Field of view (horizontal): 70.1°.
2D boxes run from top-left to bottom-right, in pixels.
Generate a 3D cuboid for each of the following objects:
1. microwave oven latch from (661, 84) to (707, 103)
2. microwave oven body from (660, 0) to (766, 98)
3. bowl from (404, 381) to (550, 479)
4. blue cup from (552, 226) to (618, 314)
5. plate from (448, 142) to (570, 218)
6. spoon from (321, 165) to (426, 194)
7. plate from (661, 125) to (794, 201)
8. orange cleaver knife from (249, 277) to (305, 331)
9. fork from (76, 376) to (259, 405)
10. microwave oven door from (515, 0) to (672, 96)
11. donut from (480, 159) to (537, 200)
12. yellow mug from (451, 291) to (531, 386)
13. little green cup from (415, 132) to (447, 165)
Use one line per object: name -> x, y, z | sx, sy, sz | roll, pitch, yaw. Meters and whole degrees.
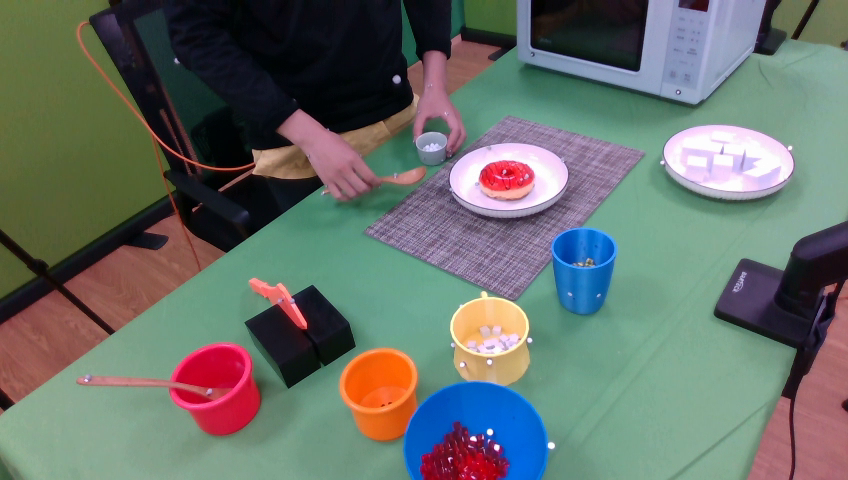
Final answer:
microwave oven latch -> 0.517, -0.296, 1.204 | 0.078, 0.029, 0.030 | 26, 52, 34
microwave oven body -> 0.473, -0.513, 1.317 | 0.438, 0.261, 0.327 | 26, 51, 34
bowl -> 0.058, 0.235, 0.645 | 0.151, 0.077, 0.150 | -4, 39, 4
blue cup -> 0.218, 0.047, 0.826 | 0.092, 0.100, 0.092 | -6, 40, 5
plate -> 0.148, -0.101, 1.053 | 0.209, 0.038, 0.208 | -4, 40, 4
spoon -> -0.089, -0.105, 1.056 | 0.193, 0.022, 0.041 | -7, 46, 7
plate -> 0.513, -0.128, 1.035 | 0.207, 0.039, 0.206 | -4, 40, 4
orange cleaver knife -> -0.210, 0.088, 0.856 | 0.012, 0.077, 0.210 | -28, 15, -25
fork -> -0.295, 0.176, 0.716 | 0.209, 0.018, 0.028 | 19, 27, -36
microwave oven door -> 0.343, -0.455, 1.259 | 0.353, 0.245, 0.039 | 26, 51, 33
donut -> 0.145, -0.106, 1.042 | 0.099, 0.048, 0.098 | -4, 38, 4
yellow mug -> 0.085, 0.120, 0.786 | 0.100, 0.064, 0.130 | -7, 39, 1
little green cup -> 0.015, -0.174, 1.158 | 0.061, 0.039, 0.061 | -1, 48, 2
